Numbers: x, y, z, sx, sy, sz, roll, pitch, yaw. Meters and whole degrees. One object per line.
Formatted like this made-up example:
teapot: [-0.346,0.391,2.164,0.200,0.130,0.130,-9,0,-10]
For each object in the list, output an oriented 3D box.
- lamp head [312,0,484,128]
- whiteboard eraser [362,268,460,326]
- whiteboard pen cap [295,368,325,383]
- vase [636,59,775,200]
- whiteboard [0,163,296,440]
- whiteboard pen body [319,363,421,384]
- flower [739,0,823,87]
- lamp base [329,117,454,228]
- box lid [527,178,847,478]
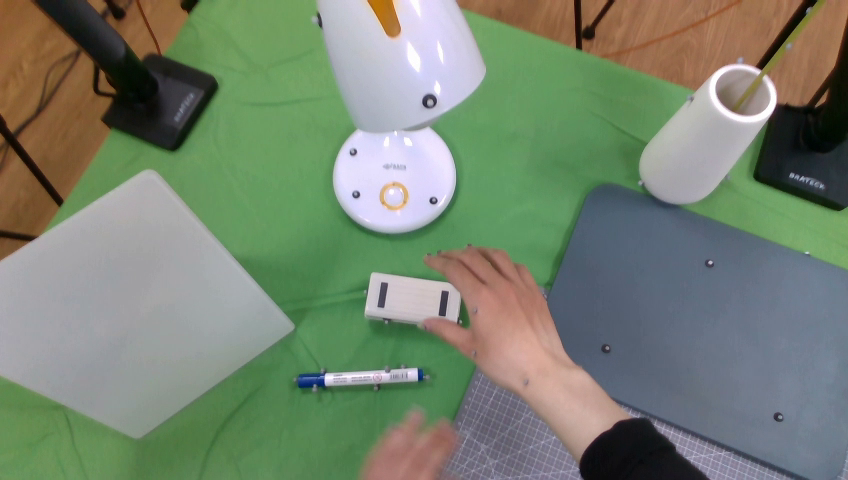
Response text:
lamp head: [-0.028,-0.160,0.431,0.112,0.124,0.111,-19,31,12]
whiteboard eraser: [-0.016,0.068,0.721,0.112,0.042,0.055,7,75,2]
whiteboard pen cap: [-0.132,0.157,0.704,0.033,0.018,0.018,-5,72,3]
vase: [0.320,-0.121,0.697,0.098,0.201,0.097,0,71,-1]
whiteboard: [-0.309,0.042,0.624,0.217,0.308,0.142,-35,55,-10]
whiteboard pen body: [-0.074,0.156,0.705,0.141,0.017,0.017,-4,72,0]
flower: [0.330,-0.158,0.622,0.038,0.364,0.043,-20,66,-22]
lamp base: [-0.045,-0.127,0.710,0.161,0.181,0.178,-7,70,-2]
box lid: [0.335,0.094,0.727,0.371,0.015,0.262,22,73,7]
